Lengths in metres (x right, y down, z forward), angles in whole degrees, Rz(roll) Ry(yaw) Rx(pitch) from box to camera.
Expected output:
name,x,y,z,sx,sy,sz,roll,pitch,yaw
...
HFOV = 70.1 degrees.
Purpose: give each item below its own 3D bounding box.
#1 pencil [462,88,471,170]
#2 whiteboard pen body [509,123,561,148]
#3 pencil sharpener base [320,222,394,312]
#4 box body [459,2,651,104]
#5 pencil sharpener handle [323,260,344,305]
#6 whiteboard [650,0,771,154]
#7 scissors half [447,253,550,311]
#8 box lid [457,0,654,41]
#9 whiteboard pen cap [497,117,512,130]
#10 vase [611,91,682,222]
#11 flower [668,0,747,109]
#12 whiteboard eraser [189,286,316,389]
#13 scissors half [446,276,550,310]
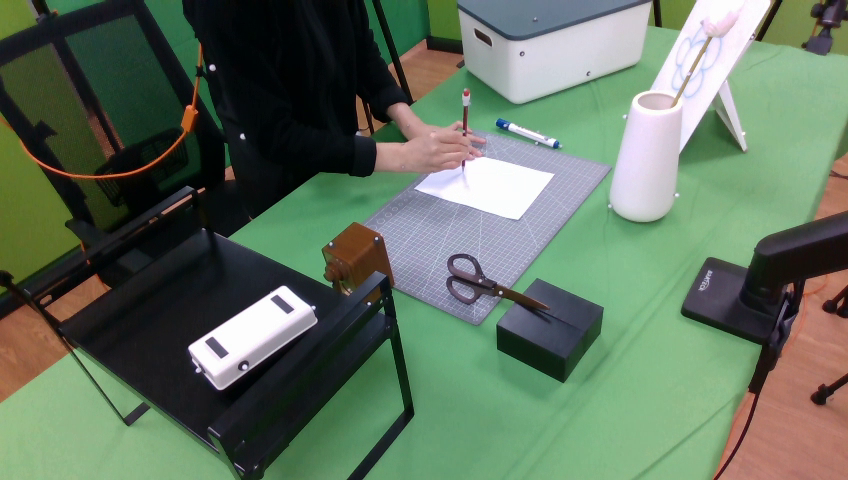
name,x,y,z,sx,sy,sz,roll,pitch,yaw
pencil,0.072,-0.185,1.046,0.012,0.195,0.012,-1,55,1
whiteboard pen body,0.208,-0.211,1.196,0.139,0.017,0.017,30,52,33
pencil sharpener base,-0.096,0.041,0.873,0.061,0.107,0.077,25,54,32
box body,0.291,-0.465,1.371,0.365,0.161,0.252,-22,42,-16
pencil sharpener handle,-0.131,0.062,0.839,0.035,0.068,0.031,29,55,28
whiteboard,0.543,-0.298,1.076,0.144,0.305,0.216,12,40,-7
scissors half,0.098,0.058,0.821,0.173,0.040,0.013,27,33,36
box lid,0.285,-0.522,1.323,0.373,0.015,0.261,-22,43,-16
whiteboard pen cap,0.165,-0.235,1.227,0.033,0.018,0.018,32,53,31
vase,0.348,-0.125,0.936,0.098,0.201,0.097,-3,40,3
flower,0.354,-0.187,0.879,0.038,0.362,0.044,30,48,14
whiteboard eraser,-0.166,0.096,0.593,0.113,0.042,0.055,-36,47,-29
scissors half,0.097,0.077,0.827,0.174,0.040,0.013,6,13,44
